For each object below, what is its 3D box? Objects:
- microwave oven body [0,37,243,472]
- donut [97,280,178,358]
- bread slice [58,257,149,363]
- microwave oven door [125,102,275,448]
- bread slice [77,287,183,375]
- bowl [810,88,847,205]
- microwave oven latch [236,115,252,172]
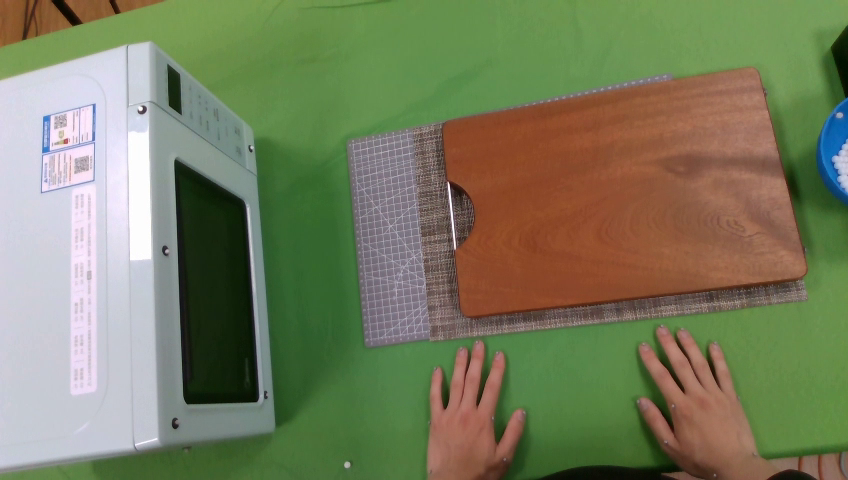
[{"bbox_3d":[-0.404,0.039,0.751,0.326,0.262,0.439,-11,76,9],"label":"microwave oven body"},{"bbox_3d":[-0.360,0.099,0.762,0.099,0.048,0.099,0,91,0],"label":"donut"},{"bbox_3d":[-0.382,0.092,0.719,0.134,0.018,0.106,-21,75,20],"label":"bread slice"},{"bbox_3d":[-0.258,0.050,0.712,0.039,0.245,0.353,-12,75,10],"label":"microwave oven door"},{"bbox_3d":[-0.388,0.114,0.789,0.131,0.019,0.104,7,82,9],"label":"bread slice"},{"bbox_3d":[0.510,-0.094,0.685,0.151,0.077,0.150,-3,77,12],"label":"bowl"},{"bbox_3d":[-0.265,-0.135,0.864,0.030,0.030,0.078,-11,76,9],"label":"microwave oven latch"}]
